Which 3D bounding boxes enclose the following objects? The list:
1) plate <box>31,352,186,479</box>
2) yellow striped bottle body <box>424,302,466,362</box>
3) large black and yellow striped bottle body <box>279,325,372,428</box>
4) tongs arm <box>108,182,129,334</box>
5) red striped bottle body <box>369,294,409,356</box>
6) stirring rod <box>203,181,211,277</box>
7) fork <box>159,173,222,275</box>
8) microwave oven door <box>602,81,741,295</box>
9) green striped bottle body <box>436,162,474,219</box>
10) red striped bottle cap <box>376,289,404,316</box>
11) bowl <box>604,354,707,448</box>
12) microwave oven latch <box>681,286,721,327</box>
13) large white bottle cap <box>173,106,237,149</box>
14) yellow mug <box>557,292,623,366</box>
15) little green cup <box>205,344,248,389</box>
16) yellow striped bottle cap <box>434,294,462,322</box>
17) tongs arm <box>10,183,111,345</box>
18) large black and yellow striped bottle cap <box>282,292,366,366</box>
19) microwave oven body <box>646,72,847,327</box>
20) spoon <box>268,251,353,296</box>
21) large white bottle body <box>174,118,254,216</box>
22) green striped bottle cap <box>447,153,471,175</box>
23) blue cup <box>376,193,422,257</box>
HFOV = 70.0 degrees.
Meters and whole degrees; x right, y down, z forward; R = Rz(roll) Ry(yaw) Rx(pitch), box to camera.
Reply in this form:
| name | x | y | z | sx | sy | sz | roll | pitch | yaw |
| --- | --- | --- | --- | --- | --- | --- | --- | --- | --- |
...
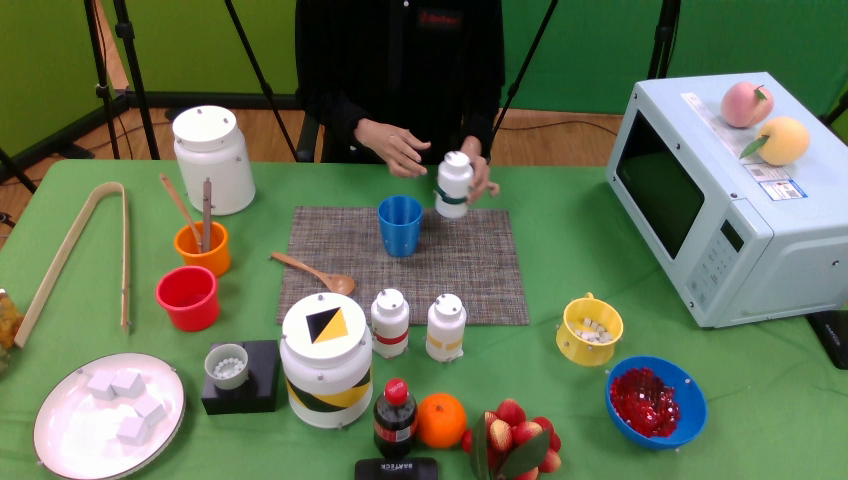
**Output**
| name | x | y | z | sx | sy | sz | roll | pitch | yaw |
| --- | --- | --- | --- | --- | --- | --- | --- | --- | --- |
| plate | -0.459 | 0.262 | 0.898 | 0.209 | 0.038 | 0.208 | 2 | 46 | -2 |
| yellow striped bottle body | 0.035 | 0.143 | 0.995 | 0.063 | 0.121 | 0.062 | 3 | 46 | -3 |
| large black and yellow striped bottle body | -0.143 | 0.181 | 0.900 | 0.131 | 0.185 | 0.130 | 2 | 46 | -2 |
| tongs arm | -0.571 | 0.019 | 1.123 | 0.051 | 0.026 | 0.382 | -11 | 47 | -12 |
| red striped bottle body | -0.059 | 0.134 | 0.997 | 0.063 | 0.120 | 0.062 | 5 | 47 | -5 |
| stirring rod | -0.396 | -0.021 | 1.107 | 0.014 | 0.006 | 0.176 | -1 | 89 | -2 |
| fork | -0.427 | -0.029 | 1.103 | 0.028 | 0.018 | 0.207 | -31 | 99 | -31 |
| microwave oven door | 0.456 | -0.107 | 1.162 | 0.039 | 0.245 | 0.353 | -7 | 47 | -11 |
| green striped bottle body | 0.058 | -0.101 | 1.125 | 0.063 | 0.120 | 0.063 | 4 | 45 | -4 |
| red striped bottle cap | -0.054 | 0.098 | 0.958 | 0.044 | 0.018 | 0.044 | 0 | 48 | 1 |
| bowl | 0.346 | 0.261 | 0.937 | 0.151 | 0.077 | 0.150 | 2 | 46 | -2 |
| microwave oven latch | 0.494 | 0.119 | 1.086 | 0.030 | 0.029 | 0.078 | -5 | 46 | -9 |
| large white bottle cap | -0.411 | -0.212 | 1.138 | 0.115 | 0.018 | 0.114 | 3 | 47 | -2 |
| yellow mug | 0.285 | 0.145 | 1.051 | 0.100 | 0.064 | 0.130 | 7 | 45 | 4 |
| little green cup | -0.293 | 0.191 | 0.909 | 0.061 | 0.039 | 0.061 | 1 | 47 | -1 |
| yellow striped bottle cap | 0.038 | 0.107 | 0.958 | 0.044 | 0.019 | 0.044 | 2 | 45 | -2 |
| tongs arm | -0.658 | 0.027 | 1.109 | 0.028 | 0.028 | 0.385 | -2 | 45 | 2 |
| large black and yellow striped bottle cap | -0.138 | 0.121 | 0.841 | 0.115 | 0.019 | 0.114 | 3 | 47 | -3 |
| microwave oven body | 0.607 | -0.089 | 1.163 | 0.326 | 0.261 | 0.438 | -7 | 46 | -10 |
| spoon | -0.212 | 0.057 | 1.121 | 0.193 | 0.022 | 0.041 | 24 | 74 | 18 |
| large white bottle body | -0.415 | -0.154 | 1.199 | 0.131 | 0.185 | 0.130 | 2 | 46 | -2 |
| green striped bottle cap | 0.063 | -0.136 | 1.087 | 0.044 | 0.020 | 0.044 | 3 | 44 | -2 |
| blue cup | -0.047 | -0.022 | 1.155 | 0.093 | 0.101 | 0.092 | 1 | 47 | -1 |
